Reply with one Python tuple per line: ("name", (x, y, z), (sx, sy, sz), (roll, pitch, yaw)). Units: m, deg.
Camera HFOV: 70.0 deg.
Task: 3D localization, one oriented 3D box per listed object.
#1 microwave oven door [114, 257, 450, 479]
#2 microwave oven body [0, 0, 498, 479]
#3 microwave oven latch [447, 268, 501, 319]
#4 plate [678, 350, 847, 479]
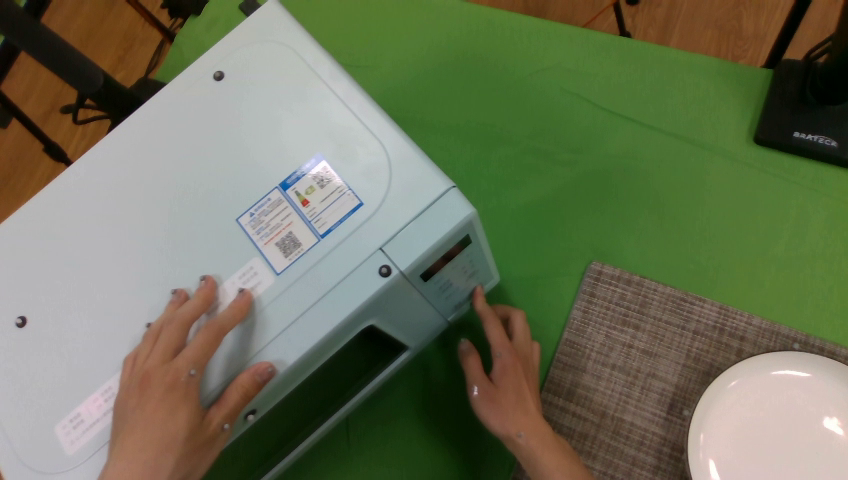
("microwave oven door", (-0.138, 0.165, 0.578), (0.356, 0.245, 0.039), (-41, 69, -3))
("microwave oven body", (-0.195, 0.037, 0.635), (0.441, 0.262, 0.323), (-41, 70, -2))
("microwave oven latch", (0.051, 0.054, 0.683), (0.079, 0.030, 0.030), (-39, 70, -1))
("plate", (0.354, 0.212, 0.586), (0.207, 0.039, 0.206), (-3, 72, 11))
